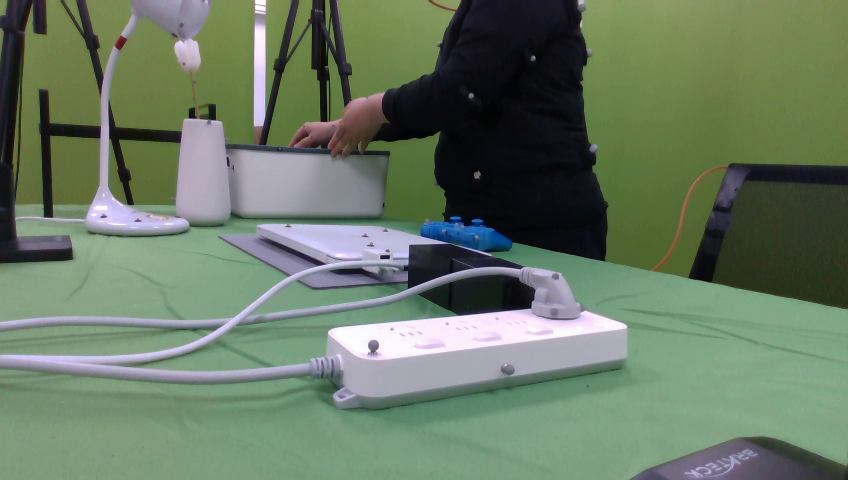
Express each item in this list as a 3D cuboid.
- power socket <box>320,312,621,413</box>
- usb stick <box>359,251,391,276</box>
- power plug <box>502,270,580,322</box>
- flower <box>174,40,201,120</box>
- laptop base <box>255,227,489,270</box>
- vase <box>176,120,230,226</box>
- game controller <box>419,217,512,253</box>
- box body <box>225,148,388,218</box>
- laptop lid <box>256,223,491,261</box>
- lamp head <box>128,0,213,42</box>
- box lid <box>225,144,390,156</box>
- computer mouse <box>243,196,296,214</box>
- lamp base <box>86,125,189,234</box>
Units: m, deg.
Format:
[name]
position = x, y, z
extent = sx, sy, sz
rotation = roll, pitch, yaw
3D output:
[power socket]
position = 0.038, 0.075, 0.409
extent = 0.228, 0.032, 0.072
rotation = -2, 8, -29
[usb stick]
position = -0.061, 0.027, 0.708
extent = 0.021, 0.027, 0.059
rotation = -3, 3, -29
[power plug]
position = 0.091, 0.051, 0.469
extent = 0.035, 0.052, 0.072
rotation = 0, 5, -18
[flower]
position = -0.429, -0.211, 1.165
extent = 0.044, 0.361, 0.038
rotation = -10, -5, -25
[laptop base]
position = -0.095, 0.011, 0.911
extent = 0.237, 0.023, 0.352
rotation = 2, 6, -32
[vase]
position = -0.425, -0.128, 1.159
extent = 0.098, 0.200, 0.098
rotation = 2, 9, 0
[game controller]
position = 0.064, -0.009, 1.028
extent = 0.154, 0.051, 0.097
rotation = 9, 15, 43
[box body]
position = -0.298, -0.143, 1.474
extent = 0.366, 0.160, 0.253
rotation = -1, 9, -30
[laptop lid]
position = -0.092, 0.000, 0.911
extent = 0.243, 0.013, 0.355
rotation = 1, 7, -30
[lamp head]
position = -0.423, -0.394, 0.980
extent = 0.123, 0.112, 0.112
rotation = 20, 7, -3
[box lid]
position = -0.296, -0.216, 1.463
extent = 0.373, 0.015, 0.262
rotation = -2, 8, -29
[computer mouse]
position = -0.362, -0.082, 1.416
extent = 0.117, 0.041, 0.063
rotation = -3, 10, 5
[lamp base]
position = -0.497, -0.105, 1.027
extent = 0.179, 0.180, 0.160
rotation = 1, 7, 3
